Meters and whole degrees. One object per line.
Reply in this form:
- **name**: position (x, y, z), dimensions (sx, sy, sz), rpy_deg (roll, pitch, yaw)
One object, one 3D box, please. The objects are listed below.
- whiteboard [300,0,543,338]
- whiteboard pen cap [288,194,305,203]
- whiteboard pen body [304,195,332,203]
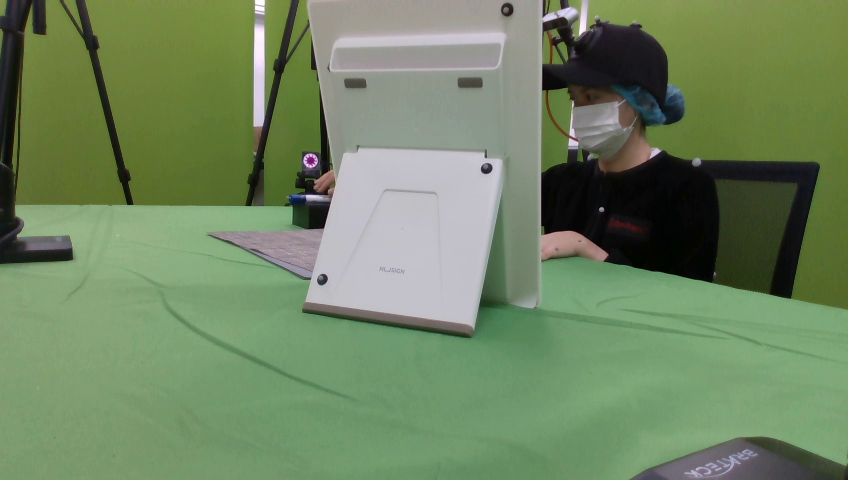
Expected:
- **whiteboard**: position (-0.020, -0.050, 0.523), dimensions (0.216, 0.305, 0.144), rpy_deg (6, 27, 22)
- **whiteboard pen cap**: position (-0.253, -0.083, 1.204), dimensions (0.033, 0.018, 0.018), rpy_deg (-4, 10, -34)
- **whiteboard pen body**: position (-0.200, -0.084, 1.237), dimensions (0.141, 0.017, 0.017), rpy_deg (-3, 9, -34)
